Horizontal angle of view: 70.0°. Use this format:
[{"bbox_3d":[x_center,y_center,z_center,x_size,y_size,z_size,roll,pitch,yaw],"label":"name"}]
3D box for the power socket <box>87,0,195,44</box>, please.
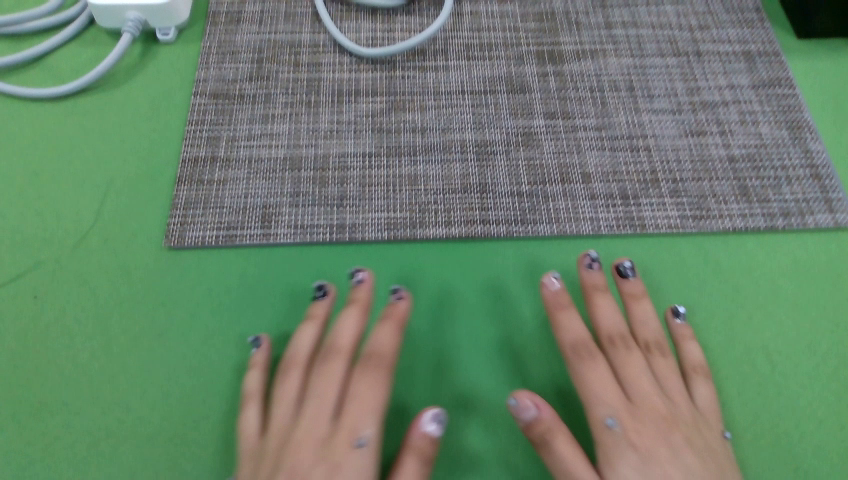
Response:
[{"bbox_3d":[-0.221,-0.257,0.508,0.072,0.033,0.224,-1,62,-1],"label":"power socket"}]
